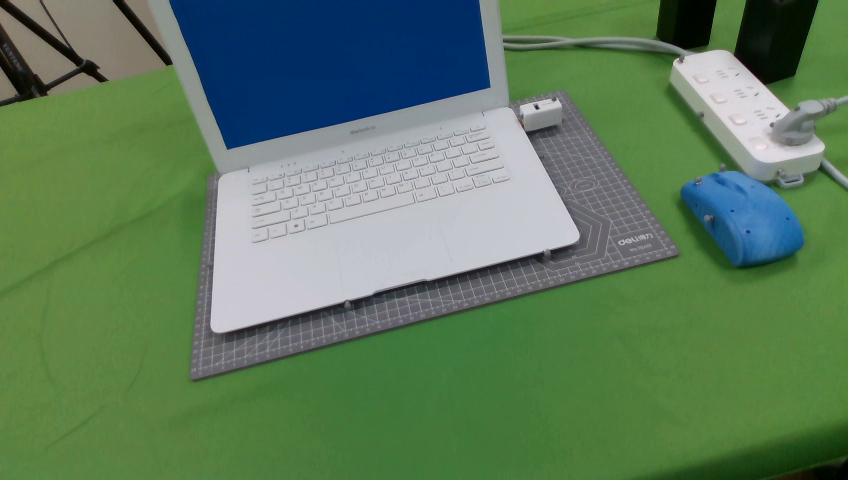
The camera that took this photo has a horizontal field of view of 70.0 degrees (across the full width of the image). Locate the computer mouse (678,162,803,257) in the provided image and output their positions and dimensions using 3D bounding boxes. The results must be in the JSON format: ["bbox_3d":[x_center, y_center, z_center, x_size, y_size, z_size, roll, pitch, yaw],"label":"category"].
[{"bbox_3d":[0.285,-0.036,0.551,0.063,0.041,0.116,-15,41,0],"label":"computer mouse"}]

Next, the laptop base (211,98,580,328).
[{"bbox_3d":[-0.045,-0.040,0.637,0.354,0.023,0.233,-14,49,-2],"label":"laptop base"}]

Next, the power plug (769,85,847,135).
[{"bbox_3d":[0.374,-0.117,0.585,0.072,0.053,0.035,-4,49,7],"label":"power plug"}]

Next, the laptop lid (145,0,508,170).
[{"bbox_3d":[-0.092,-0.217,0.653,0.357,0.244,0.013,-16,33,-1],"label":"laptop lid"}]

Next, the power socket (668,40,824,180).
[{"bbox_3d":[0.338,-0.149,0.652,0.072,0.033,0.224,-12,46,1],"label":"power socket"}]

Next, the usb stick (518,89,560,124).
[{"bbox_3d":[0.124,-0.150,0.690,0.059,0.027,0.021,-15,45,1],"label":"usb stick"}]
